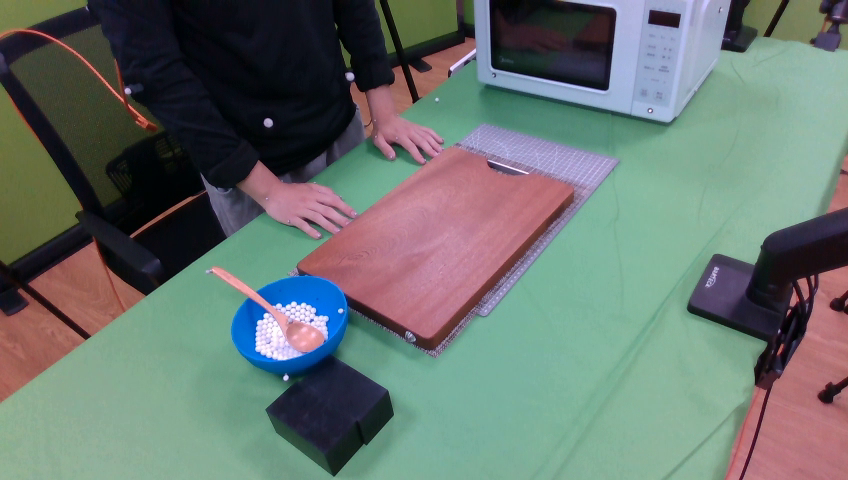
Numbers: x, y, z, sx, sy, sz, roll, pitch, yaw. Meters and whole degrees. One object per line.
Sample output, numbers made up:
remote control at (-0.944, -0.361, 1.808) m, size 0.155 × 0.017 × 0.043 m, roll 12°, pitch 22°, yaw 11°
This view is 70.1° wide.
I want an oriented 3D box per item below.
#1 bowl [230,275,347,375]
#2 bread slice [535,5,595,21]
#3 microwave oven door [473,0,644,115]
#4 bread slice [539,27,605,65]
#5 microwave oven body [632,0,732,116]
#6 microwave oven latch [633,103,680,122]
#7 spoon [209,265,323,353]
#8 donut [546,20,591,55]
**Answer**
bowl at (-0.171, 0.125, 0.802) m, size 0.151 × 0.077 × 0.150 m, roll -4°, pitch 40°, yaw 4°
bread slice at (0.302, -0.481, 1.278) m, size 0.106 × 0.018 × 0.134 m, roll 10°, pitch 29°, yaw 23°
microwave oven door at (0.257, -0.396, 1.199) m, size 0.353 × 0.245 × 0.039 m, roll 21°, pitch 48°, yaw 29°
bread slice at (0.332, -0.434, 1.339) m, size 0.132 × 0.019 × 0.104 m, roll -41°, pitch 44°, yaw -22°
microwave oven body at (0.377, -0.462, 1.267) m, size 0.438 × 0.261 × 0.327 m, roll 21°, pitch 48°, yaw 30°
microwave oven latch at (0.444, -0.249, 1.157) m, size 0.078 × 0.029 × 0.030 m, roll 20°, pitch 48°, yaw 30°
spoon at (-0.213, 0.087, 0.806) m, size 0.193 × 0.021 × 0.042 m, roll 37°, pitch 57°, yaw 11°
donut at (0.311, -0.436, 1.299) m, size 0.099 × 0.048 × 0.098 m, roll -21°, pitch 35°, yaw 16°
